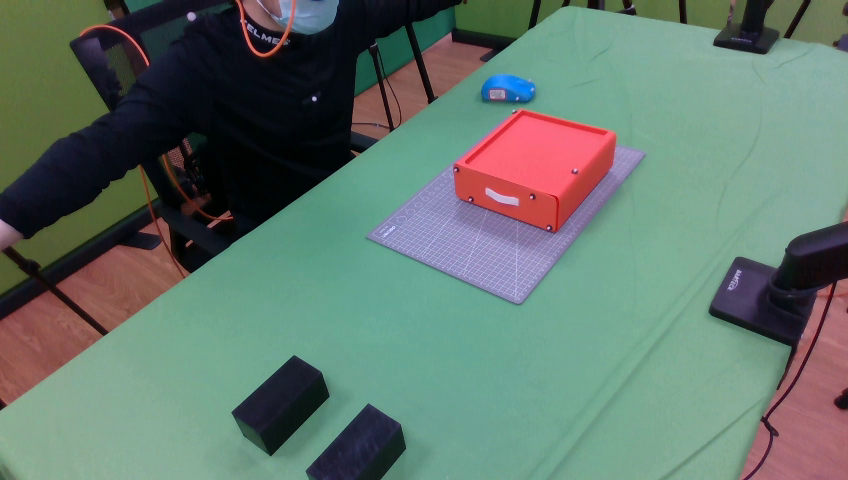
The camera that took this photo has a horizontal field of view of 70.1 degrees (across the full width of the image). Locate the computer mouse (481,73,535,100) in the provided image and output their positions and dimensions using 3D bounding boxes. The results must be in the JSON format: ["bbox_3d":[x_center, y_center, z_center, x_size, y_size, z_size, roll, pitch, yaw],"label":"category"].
[{"bbox_3d":[0.183,-0.335,1.320,0.117,0.041,0.063,11,42,14],"label":"computer mouse"}]

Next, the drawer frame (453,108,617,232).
[{"bbox_3d":[0.191,-0.128,1.039,0.200,0.083,0.214,21,47,30],"label":"drawer frame"}]

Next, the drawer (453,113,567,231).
[{"bbox_3d":[0.189,-0.126,1.039,0.193,0.073,0.212,22,48,31],"label":"drawer"}]
